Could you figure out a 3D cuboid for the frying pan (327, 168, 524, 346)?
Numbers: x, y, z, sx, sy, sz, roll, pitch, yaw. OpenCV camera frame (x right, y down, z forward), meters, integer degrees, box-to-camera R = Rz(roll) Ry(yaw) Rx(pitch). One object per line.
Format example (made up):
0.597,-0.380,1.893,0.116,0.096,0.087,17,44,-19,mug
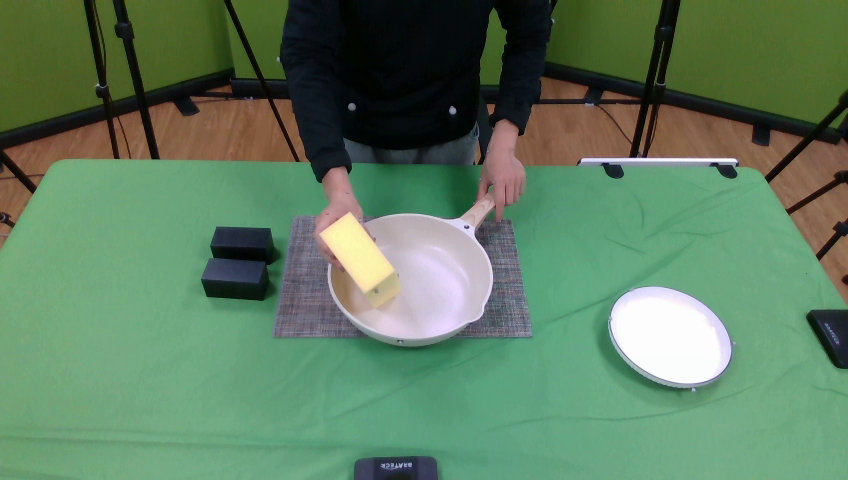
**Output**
0.042,0.009,1.132,0.305,0.103,0.487,34,61,24,frying pan

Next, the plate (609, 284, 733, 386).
0.425,0.167,1.059,0.208,0.039,0.206,2,46,-2,plate

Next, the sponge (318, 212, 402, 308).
-0.100,0.040,1.004,0.061,0.207,0.118,-37,80,-7,sponge
